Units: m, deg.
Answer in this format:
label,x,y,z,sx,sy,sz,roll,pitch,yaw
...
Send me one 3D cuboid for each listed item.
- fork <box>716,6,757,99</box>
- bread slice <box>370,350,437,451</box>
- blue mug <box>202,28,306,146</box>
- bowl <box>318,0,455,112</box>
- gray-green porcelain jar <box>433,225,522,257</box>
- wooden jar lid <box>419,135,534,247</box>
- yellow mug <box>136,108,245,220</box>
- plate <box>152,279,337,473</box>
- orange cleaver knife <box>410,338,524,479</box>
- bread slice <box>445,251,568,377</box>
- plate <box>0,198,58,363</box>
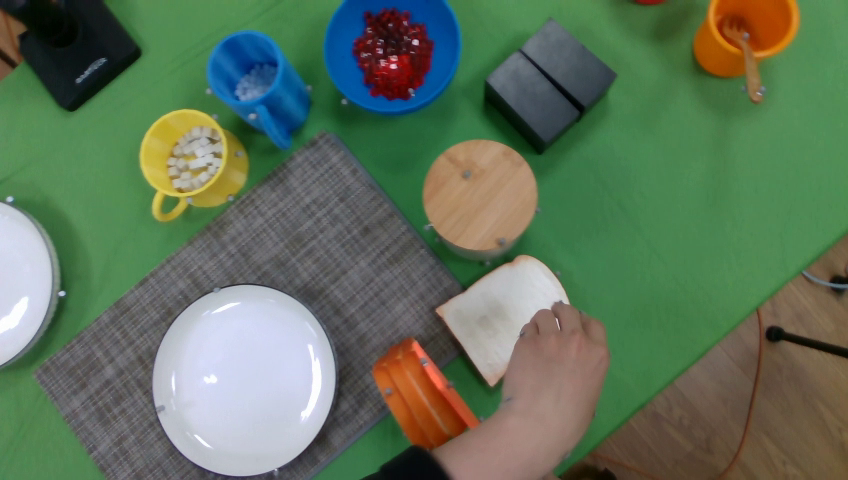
label,x,y,z,sx,sy,sz,roll,pitch,yaw
fork,0.324,-0.198,0.624,0.028,0.019,0.206,22,41,0
bread slice,-0.021,0.160,0.619,0.018,0.135,0.106,-33,81,-3
blue mug,-0.183,-0.161,0.681,0.082,0.106,0.116,-20,82,2
bowl,-0.037,-0.210,0.689,0.151,0.077,0.151,0,84,5
gray-green porcelain jar,0.056,-0.038,0.638,0.106,0.127,0.105,0,83,4
wooden jar lid,0.049,-0.046,0.577,0.108,0.021,0.108,0,83,2
yellow mug,-0.274,-0.081,0.699,0.099,0.064,0.130,28,88,8
plate,-0.196,0.149,0.677,0.209,0.038,0.208,-1,84,5
orange cleaver knife,0.052,0.180,0.587,0.012,0.076,0.212,-37,107,-3
bread slice,0.100,0.079,0.692,0.131,0.019,0.104,-39,72,20
plate,-0.529,0.050,0.718,0.207,0.039,0.207,0,84,4
